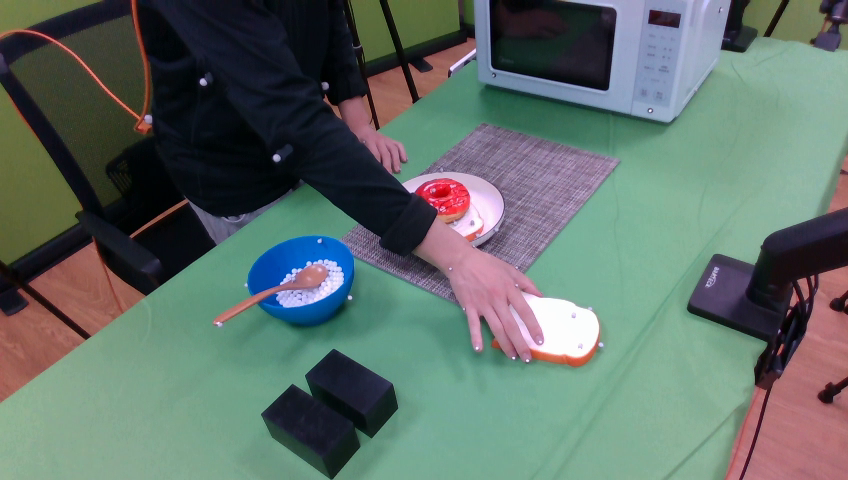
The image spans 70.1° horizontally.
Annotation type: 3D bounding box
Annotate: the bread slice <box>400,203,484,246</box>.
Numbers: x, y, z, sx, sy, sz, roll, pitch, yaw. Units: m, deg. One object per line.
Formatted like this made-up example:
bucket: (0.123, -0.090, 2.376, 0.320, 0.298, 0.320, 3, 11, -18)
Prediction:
bread slice: (0.037, -0.036, 0.992, 0.107, 0.018, 0.133, -22, 40, -17)

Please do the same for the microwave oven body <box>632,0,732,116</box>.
microwave oven body: (0.377, -0.463, 1.267, 0.438, 0.261, 0.327, 21, 49, 30)

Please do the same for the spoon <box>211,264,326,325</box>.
spoon: (-0.208, 0.072, 0.822, 0.041, 0.021, 0.195, 28, 29, 26)

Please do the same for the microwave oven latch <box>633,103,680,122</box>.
microwave oven latch: (0.444, -0.249, 1.158, 0.078, 0.029, 0.030, 21, 49, 30)

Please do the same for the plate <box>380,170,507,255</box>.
plate: (0.033, -0.042, 0.995, 0.207, 0.039, 0.206, -4, 40, 4)

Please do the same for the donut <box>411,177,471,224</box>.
donut: (0.029, -0.064, 0.978, 0.099, 0.048, 0.098, -4, 40, 4)

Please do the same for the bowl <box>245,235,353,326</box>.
bowl: (-0.170, 0.070, 0.868, 0.151, 0.077, 0.150, -4, 41, 4)

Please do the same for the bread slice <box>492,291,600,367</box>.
bread slice: (0.169, 0.118, 0.811, 0.131, 0.019, 0.105, 11, 45, 22)

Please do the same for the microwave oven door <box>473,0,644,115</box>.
microwave oven door: (0.257, -0.396, 1.199, 0.353, 0.245, 0.039, 21, 48, 29)
